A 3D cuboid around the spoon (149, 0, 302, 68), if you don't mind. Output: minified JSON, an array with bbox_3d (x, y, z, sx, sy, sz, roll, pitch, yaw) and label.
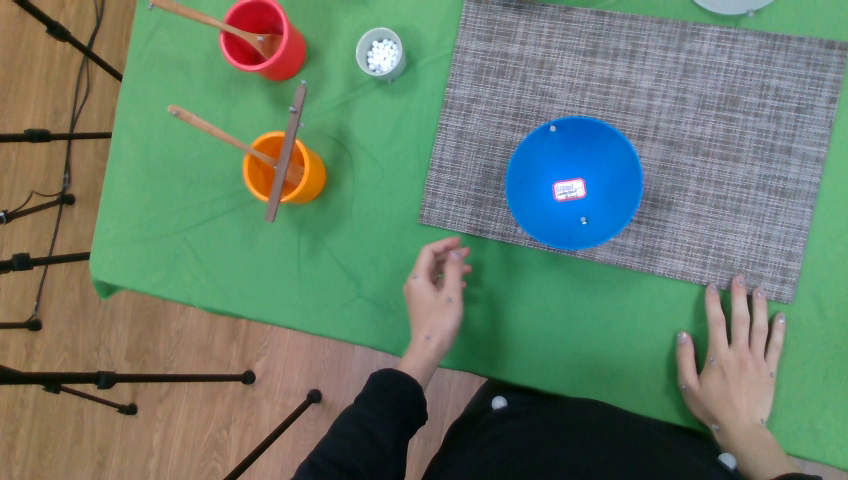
[{"bbox_3d":[-0.252,-0.273,0.784,0.195,0.021,0.041,16,95,-30],"label":"spoon"}]

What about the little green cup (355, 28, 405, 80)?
[{"bbox_3d":[-0.054,-0.240,0.790,0.061,0.039,0.061,0,89,14],"label":"little green cup"}]

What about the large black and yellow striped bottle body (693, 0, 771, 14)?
[{"bbox_3d":[0.344,-0.331,0.624,0.130,0.184,0.130,0,88,14],"label":"large black and yellow striped bottle body"}]

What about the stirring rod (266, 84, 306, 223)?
[{"bbox_3d":[-0.172,-0.108,0.755,0.014,0.006,0.176,14,92,15],"label":"stirring rod"}]

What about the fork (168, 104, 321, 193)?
[{"bbox_3d":[-0.223,-0.116,0.770,0.209,0.018,0.028,28,99,-31],"label":"fork"}]

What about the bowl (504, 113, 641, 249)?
[{"bbox_3d":[0.172,-0.063,0.708,0.151,0.077,0.151,0,89,14],"label":"bowl"}]
